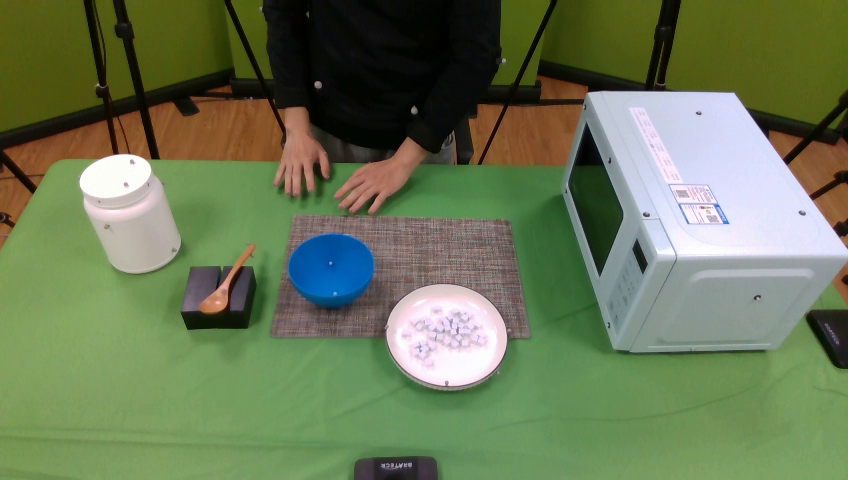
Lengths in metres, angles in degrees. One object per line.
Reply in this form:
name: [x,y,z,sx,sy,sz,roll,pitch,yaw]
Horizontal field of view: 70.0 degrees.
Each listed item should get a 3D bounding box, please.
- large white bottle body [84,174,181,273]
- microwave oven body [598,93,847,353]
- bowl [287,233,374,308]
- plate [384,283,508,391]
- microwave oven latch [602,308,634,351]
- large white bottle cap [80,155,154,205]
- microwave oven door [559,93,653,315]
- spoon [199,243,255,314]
large white bottle body: [-0.523,-0.045,1.088,0.131,0.185,0.130,2,46,-2]
microwave oven body: [0.475,-0.041,1.109,0.326,0.261,0.438,-1,45,-4]
bowl: [-0.164,0.068,1.078,0.151,0.077,0.150,3,46,-3]
plate: [0.036,0.166,1.029,0.209,0.038,0.208,2,49,-2]
microwave oven latch: [0.332,0.153,1.044,0.030,0.029,0.078,-1,45,-4]
large white bottle cap: [-0.519,-0.103,1.027,0.115,0.018,0.114,2,46,-2]
microwave oven door: [0.327,-0.074,1.123,0.039,0.245,0.353,-1,46,-5]
spoon: [-0.333,0.062,1.051,0.041,0.022,0.193,7,40,9]
